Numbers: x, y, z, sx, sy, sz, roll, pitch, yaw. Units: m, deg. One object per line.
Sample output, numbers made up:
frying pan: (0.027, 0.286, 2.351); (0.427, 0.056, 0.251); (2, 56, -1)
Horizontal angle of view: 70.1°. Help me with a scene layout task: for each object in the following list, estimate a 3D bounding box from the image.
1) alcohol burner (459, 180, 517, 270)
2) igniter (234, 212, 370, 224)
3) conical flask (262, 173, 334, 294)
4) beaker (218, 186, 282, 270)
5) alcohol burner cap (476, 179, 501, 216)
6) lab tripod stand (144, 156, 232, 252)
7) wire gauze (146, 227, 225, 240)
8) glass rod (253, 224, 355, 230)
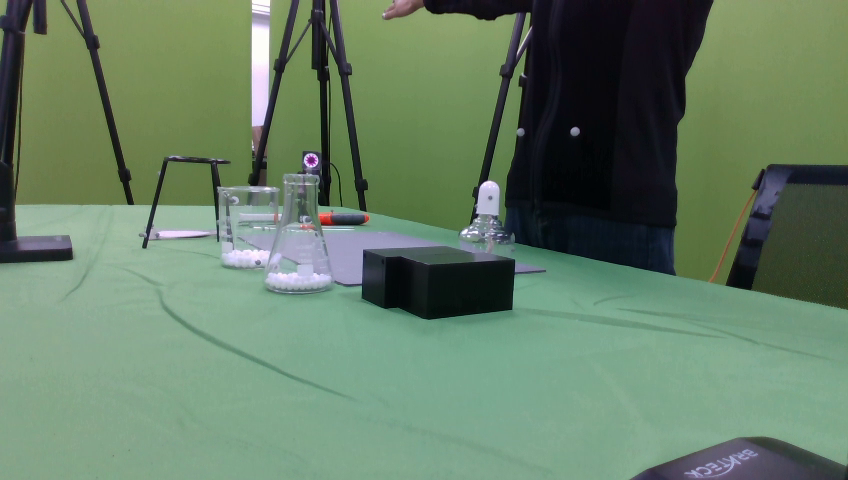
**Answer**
alcohol burner: (0.086, -0.021, 0.806); (0.078, 0.119, 0.078); (3, 10, 0)
igniter: (-0.247, -0.046, 1.253); (0.278, 0.025, 0.057); (-1, -2, -27)
conical flask: (-0.131, -0.009, 0.633); (0.075, 0.122, 0.075); (2, 8, 0)
beaker: (-0.222, -0.017, 0.758); (0.084, 0.100, 0.074); (4, 7, 19)
alcohol burner cap: (0.086, -0.057, 0.801); (0.034, 0.048, 0.034); (4, 2, 0)
lab tripod stand: (-0.325, -0.054, 0.881); (0.148, 0.131, 0.148); (4, 7, 0)
wire gauze: (-0.400, -0.012, 1.019); (0.122, 0.011, 0.124); (-1, 6, -26)
glass rod: (-0.226, -0.024, 1.162); (0.201, 0.008, 0.008); (1, 6, -29)
